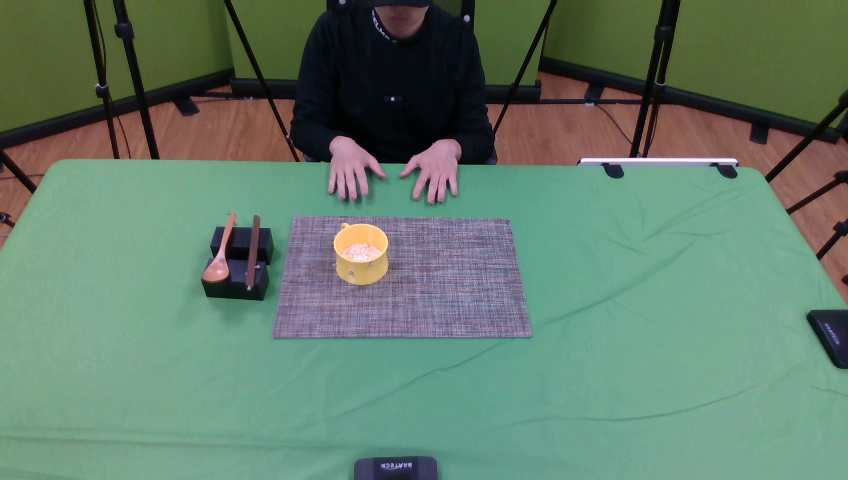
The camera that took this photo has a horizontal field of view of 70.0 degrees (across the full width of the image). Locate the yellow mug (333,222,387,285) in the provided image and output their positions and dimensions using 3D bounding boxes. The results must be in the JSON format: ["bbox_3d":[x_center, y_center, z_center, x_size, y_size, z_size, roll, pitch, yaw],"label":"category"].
[{"bbox_3d":[-0.127,0.016,1.139,0.100,0.064,0.130,-23,51,-24],"label":"yellow mug"}]

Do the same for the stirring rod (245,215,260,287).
[{"bbox_3d":[-0.310,0.017,1.096,0.014,0.006,0.175,27,36,-32],"label":"stirring rod"}]

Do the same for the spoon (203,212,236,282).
[{"bbox_3d":[-0.361,0.009,1.097,0.041,0.022,0.192,0,44,-3],"label":"spoon"}]
